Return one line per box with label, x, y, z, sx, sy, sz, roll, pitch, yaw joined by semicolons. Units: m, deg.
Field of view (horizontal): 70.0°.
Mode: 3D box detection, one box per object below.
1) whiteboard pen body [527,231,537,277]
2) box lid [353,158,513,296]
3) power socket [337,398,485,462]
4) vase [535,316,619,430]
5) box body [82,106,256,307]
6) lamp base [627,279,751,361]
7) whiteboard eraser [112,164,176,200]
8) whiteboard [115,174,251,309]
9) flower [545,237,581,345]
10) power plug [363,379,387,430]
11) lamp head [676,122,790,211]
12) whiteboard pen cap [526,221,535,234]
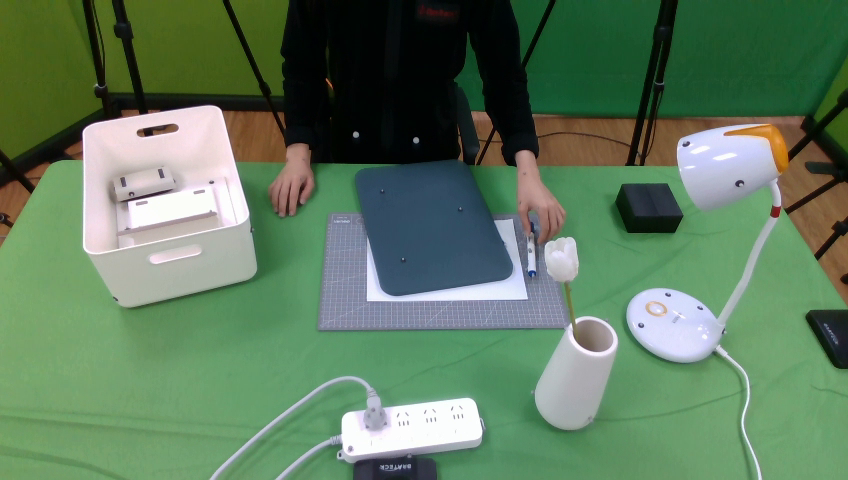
whiteboard pen body;0.211;0.018;1.191;0.017;0.017;0.140;6;44;2
box lid;0.008;-0.039;1.242;0.264;0.015;0.369;-8;47;-12
power socket;-0.018;0.285;0.914;0.227;0.033;0.071;-4;46;-8
vase;0.229;0.200;0.901;0.098;0.201;0.097;3;46;-3
box body;-0.471;-0.070;1.131;0.254;0.161;0.361;-14;49;-17
lamp base;0.460;0.100;1.027;0.178;0.181;0.160;27;51;17
whiteboard eraser;-0.567;-0.116;1.230;0.113;0.042;0.055;-17;57;-21
whiteboard;-0.473;-0.055;1.130;0.217;0.144;0.303;-15;50;-16
flower;0.213;0.137;0.846;0.038;0.364;0.044;21;55;40
power plug;-0.071;0.252;0.911;0.035;0.053;0.072;3;40;0
lamp head;0.423;-0.104;0.819;0.122;0.113;0.112;-13;33;40
whiteboard pen cap;0.216;-0.022;1.234;0.018;0.018;0.033;5;45;1
